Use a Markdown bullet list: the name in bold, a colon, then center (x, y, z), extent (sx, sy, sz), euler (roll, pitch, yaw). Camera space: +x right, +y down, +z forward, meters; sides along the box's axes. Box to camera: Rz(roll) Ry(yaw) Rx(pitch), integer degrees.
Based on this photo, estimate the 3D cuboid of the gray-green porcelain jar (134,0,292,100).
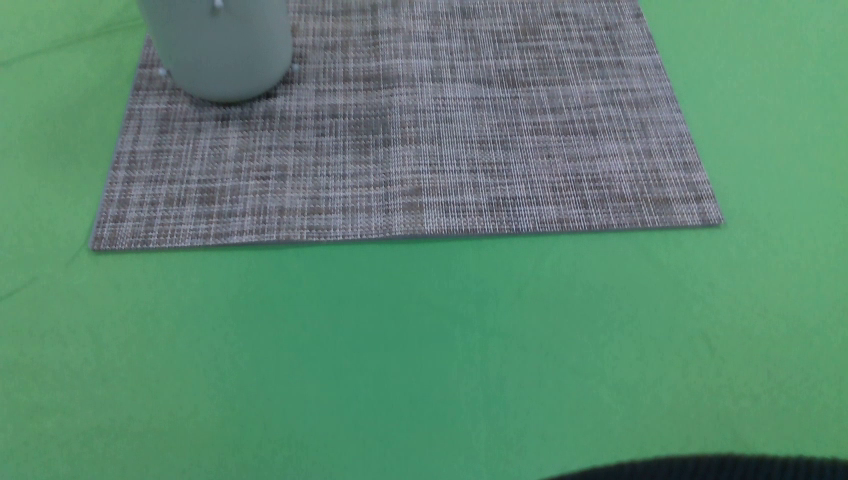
- **gray-green porcelain jar**: center (-0.159, -0.180, 0.458), extent (0.106, 0.127, 0.105), euler (1, 57, -1)
